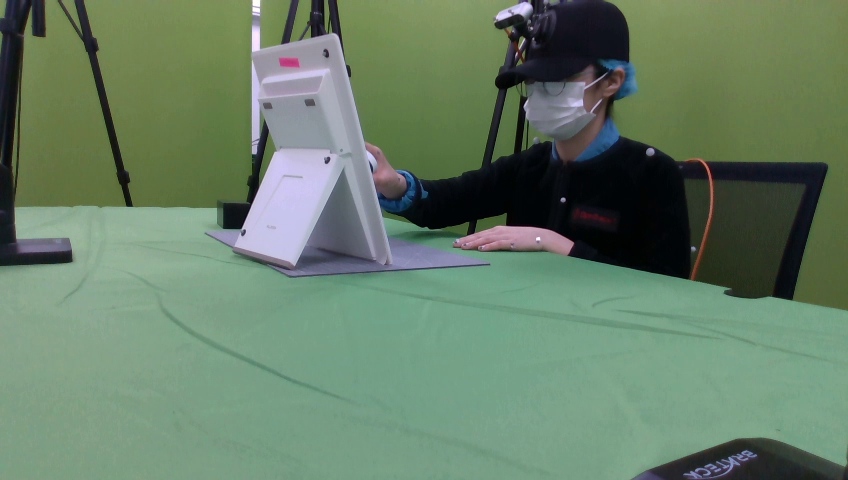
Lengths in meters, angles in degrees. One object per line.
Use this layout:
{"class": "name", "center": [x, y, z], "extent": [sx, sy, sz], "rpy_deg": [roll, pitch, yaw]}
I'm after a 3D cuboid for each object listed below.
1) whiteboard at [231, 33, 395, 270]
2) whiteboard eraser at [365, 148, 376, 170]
{"class": "whiteboard", "center": [-0.193, -0.094, 0.805], "extent": [0.144, 0.305, 0.216], "rpy_deg": [-28, 25, -35]}
{"class": "whiteboard eraser", "center": [-0.105, -0.113, 0.928], "extent": [0.019, 0.041, 0.101], "rpy_deg": [-49, 10, -30]}
